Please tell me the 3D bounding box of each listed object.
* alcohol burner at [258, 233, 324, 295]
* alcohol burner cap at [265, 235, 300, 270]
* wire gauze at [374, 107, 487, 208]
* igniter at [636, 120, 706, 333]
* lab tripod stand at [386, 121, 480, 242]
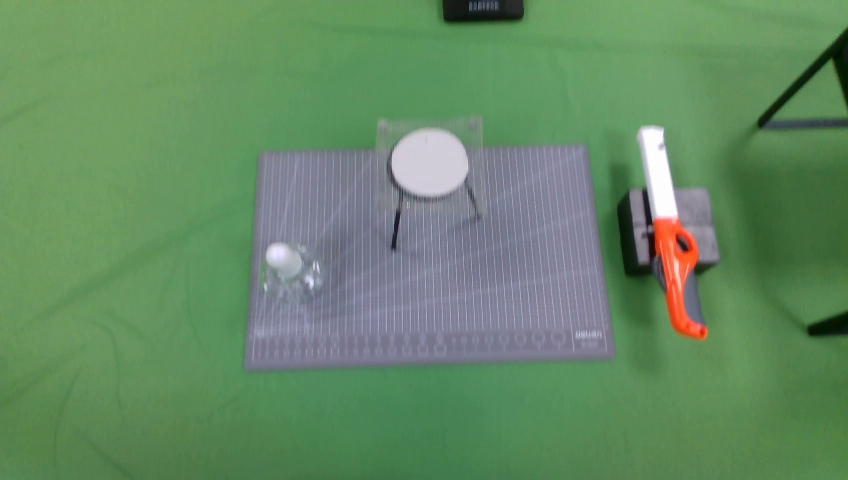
[{"bbox_3d":[-0.159,0.023,0.711,0.078,0.120,0.077,0,73,0],"label":"alcohol burner"},{"bbox_3d":[-0.161,0.012,0.677,0.034,0.048,0.033,-2,71,7],"label":"alcohol burner cap"},{"bbox_3d":[0.007,-0.094,0.672,0.125,0.011,0.120,1,71,0],"label":"wire gauze"},{"bbox_3d":[0.296,-0.022,0.735,0.057,0.025,0.274,-1,69,-4],"label":"igniter"},{"bbox_3d":[-0.001,-0.076,0.737,0.148,0.132,0.147,0,71,1],"label":"lab tripod stand"}]
